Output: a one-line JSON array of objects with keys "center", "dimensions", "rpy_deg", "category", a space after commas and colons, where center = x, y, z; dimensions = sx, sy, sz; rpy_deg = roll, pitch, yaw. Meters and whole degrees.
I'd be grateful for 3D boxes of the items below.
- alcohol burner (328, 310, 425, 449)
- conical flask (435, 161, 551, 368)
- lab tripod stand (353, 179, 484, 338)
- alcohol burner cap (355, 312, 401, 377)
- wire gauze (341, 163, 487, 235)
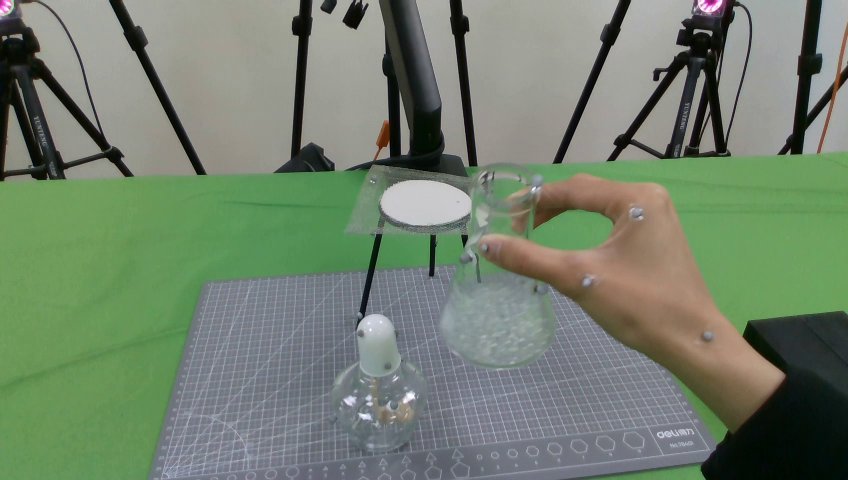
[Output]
[{"center": [-0.037, 0.105, 0.475], "dimensions": [0.078, 0.120, 0.077], "rpy_deg": [0, 31, 0], "category": "alcohol burner"}, {"center": [0.043, 0.013, 0.358], "dimensions": [0.075, 0.123, 0.074], "rpy_deg": [-1, 43, 1], "category": "conical flask"}, {"center": [0.002, 0.019, 0.595], "dimensions": [0.148, 0.132, 0.147], "rpy_deg": [3, 32, -1], "category": "lab tripod stand"}, {"center": [-0.036, 0.076, 0.455], "dimensions": [0.034, 0.048, 0.033], "rpy_deg": [-4, 36, 3], "category": "alcohol burner cap"}, {"center": [-0.003, -0.038, 0.558], "dimensions": [0.121, 0.011, 0.124], "rpy_deg": [5, 33, 4], "category": "wire gauze"}]
